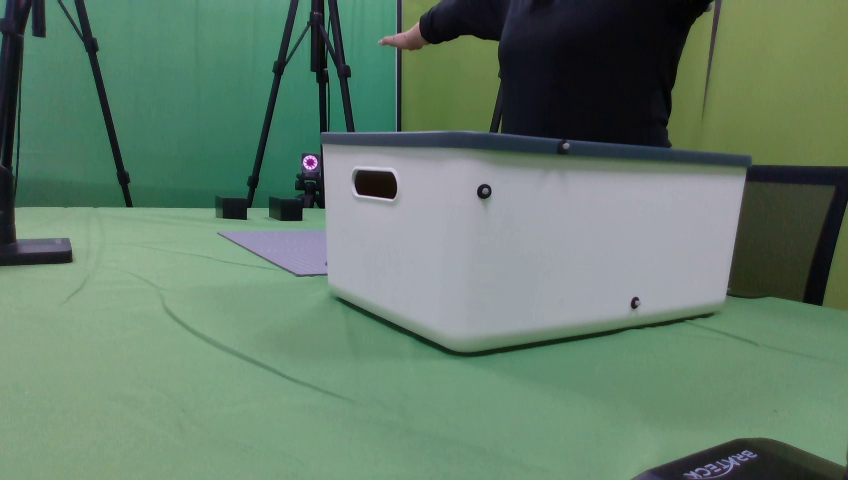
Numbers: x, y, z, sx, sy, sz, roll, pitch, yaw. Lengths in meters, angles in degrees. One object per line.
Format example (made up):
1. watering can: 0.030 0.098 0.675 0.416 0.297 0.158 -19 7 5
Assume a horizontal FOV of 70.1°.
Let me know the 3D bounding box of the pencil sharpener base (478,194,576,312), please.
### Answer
1. pencil sharpener base: 0.102 0.011 0.591 0.077 0.107 0.061 0 6 -36

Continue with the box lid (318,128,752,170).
1. box lid: 0.107 -0.085 0.594 0.373 0.015 0.262 -1 8 -34

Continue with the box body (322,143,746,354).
1. box body: 0.106 -0.011 0.603 0.366 0.160 0.253 -2 8 -34

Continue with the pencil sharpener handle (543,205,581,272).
1. pencil sharpener handle: 0.146 -0.001 0.618 0.031 0.067 0.036 0 -3 -36
